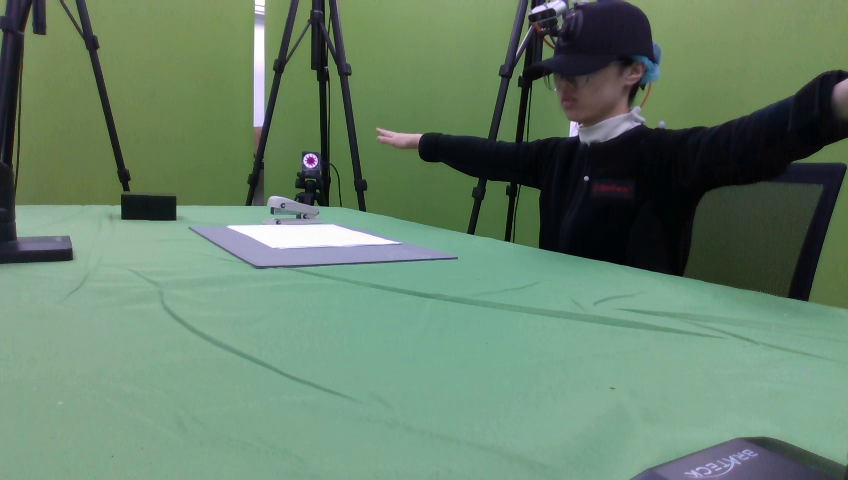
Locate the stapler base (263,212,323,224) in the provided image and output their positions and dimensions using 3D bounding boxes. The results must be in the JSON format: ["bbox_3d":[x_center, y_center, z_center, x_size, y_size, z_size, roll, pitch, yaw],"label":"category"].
[{"bbox_3d":[-0.277,-0.048,1.278,0.041,0.024,0.131,12,10,43],"label":"stapler base"}]

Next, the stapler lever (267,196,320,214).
[{"bbox_3d":[-0.275,-0.073,1.277,0.026,0.040,0.119,12,10,43],"label":"stapler lever"}]
